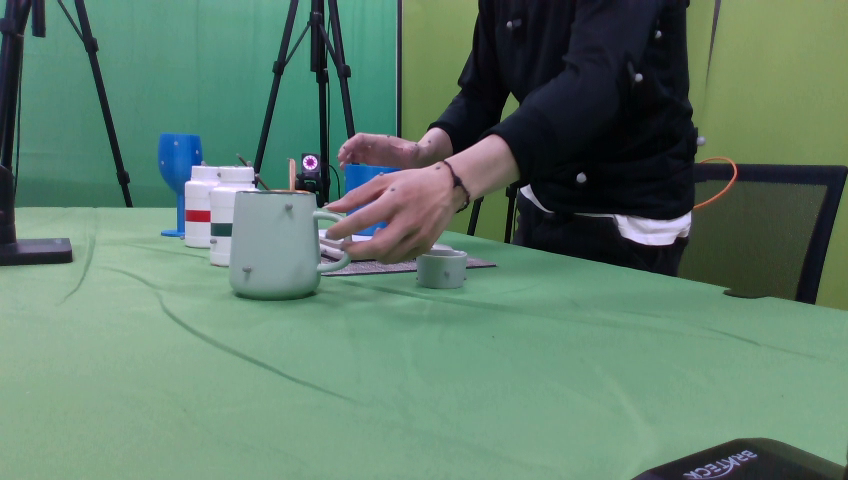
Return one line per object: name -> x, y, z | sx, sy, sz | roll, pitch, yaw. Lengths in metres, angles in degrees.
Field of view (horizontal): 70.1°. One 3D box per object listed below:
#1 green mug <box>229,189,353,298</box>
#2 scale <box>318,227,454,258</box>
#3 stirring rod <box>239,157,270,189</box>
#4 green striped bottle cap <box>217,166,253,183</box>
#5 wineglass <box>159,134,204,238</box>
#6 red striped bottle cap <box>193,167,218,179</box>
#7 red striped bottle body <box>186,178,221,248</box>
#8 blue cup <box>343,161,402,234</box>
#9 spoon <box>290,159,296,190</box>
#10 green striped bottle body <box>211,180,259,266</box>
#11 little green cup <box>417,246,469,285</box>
green mug -> -0.135, 0.002, 0.618 | 0.125, 0.105, 0.092 | 2, 7, 4
scale -> -0.066, 0.001, 0.906 | 0.202, 0.031, 0.148 | -2, 8, -31
stirring rod -> -0.309, -0.098, 1.209 | 0.006, 0.177, 0.014 | -38, 29, -2
green striped bottle cap -> -0.242, -0.085, 0.777 | 0.044, 0.020, 0.044 | 2, 8, 0
wineglass -> -0.415, -0.093, 1.039 | 0.074, 0.172, 0.073 | 2, 7, 0
red striped bottle cap -> -0.329, -0.103, 0.921 | 0.044, 0.017, 0.044 | -1, 9, 1
red striped bottle body -> -0.331, -0.050, 0.927 | 0.063, 0.119, 0.063 | 2, 6, 0
blue cup -> -0.078, -0.062, 0.884 | 0.093, 0.100, 0.092 | 4, 6, 0
spoon -> -0.273, -0.102, 1.252 | 0.042, 0.193, 0.021 | 7, -38, -17
green striped bottle body -> -0.243, -0.029, 0.784 | 0.063, 0.119, 0.063 | 2, 7, 0
little green cup -> 0.021, 0.029, 0.701 | 0.061, 0.038, 0.061 | 2, 6, 0
